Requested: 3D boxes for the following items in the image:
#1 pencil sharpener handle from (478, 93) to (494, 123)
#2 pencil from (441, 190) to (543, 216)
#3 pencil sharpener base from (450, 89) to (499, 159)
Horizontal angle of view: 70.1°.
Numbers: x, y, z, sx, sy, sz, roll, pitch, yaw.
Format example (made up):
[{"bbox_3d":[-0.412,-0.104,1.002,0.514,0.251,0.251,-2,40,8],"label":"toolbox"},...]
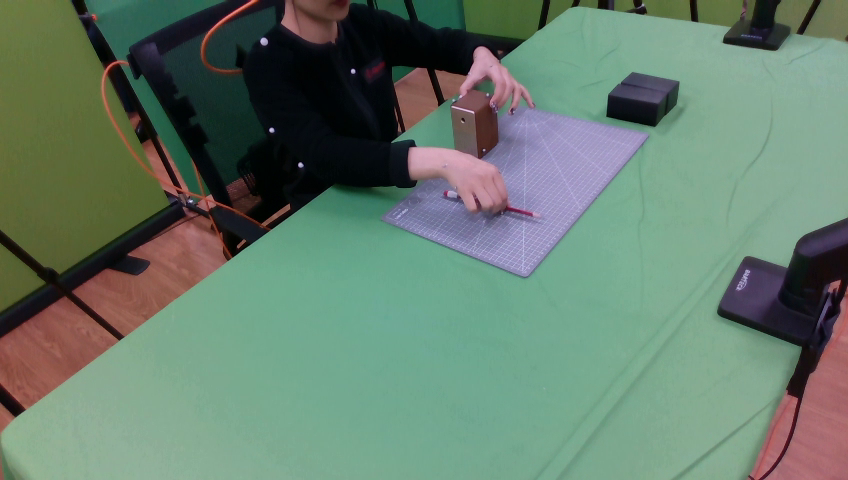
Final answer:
[{"bbox_3d":[0.127,-0.262,1.177,0.036,0.068,0.031,31,53,24],"label":"pencil sharpener handle"},{"bbox_3d":[0.114,-0.063,1.032,0.192,0.012,0.012,15,46,29],"label":"pencil"},{"bbox_3d":[0.099,-0.223,1.155,0.061,0.107,0.077,23,49,33],"label":"pencil sharpener base"}]
